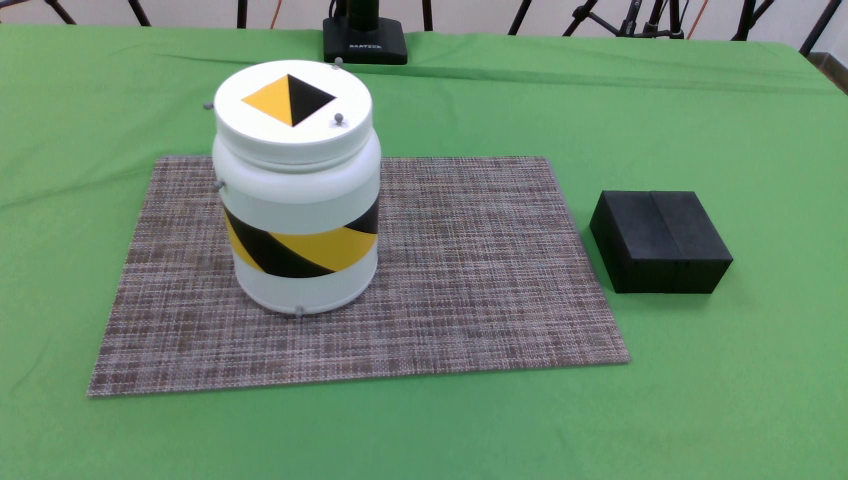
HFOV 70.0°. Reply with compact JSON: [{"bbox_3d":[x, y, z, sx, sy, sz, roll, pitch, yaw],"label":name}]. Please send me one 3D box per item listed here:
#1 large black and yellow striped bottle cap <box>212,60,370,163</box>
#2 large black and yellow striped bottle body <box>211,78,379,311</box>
[{"bbox_3d":[-0.098,-0.100,0.455,0.115,0.019,0.114,3,45,-3],"label":"large black and yellow striped bottle cap"},{"bbox_3d":[-0.105,-0.042,0.516,0.131,0.185,0.129,4,45,-3],"label":"large black and yellow striped bottle body"}]
